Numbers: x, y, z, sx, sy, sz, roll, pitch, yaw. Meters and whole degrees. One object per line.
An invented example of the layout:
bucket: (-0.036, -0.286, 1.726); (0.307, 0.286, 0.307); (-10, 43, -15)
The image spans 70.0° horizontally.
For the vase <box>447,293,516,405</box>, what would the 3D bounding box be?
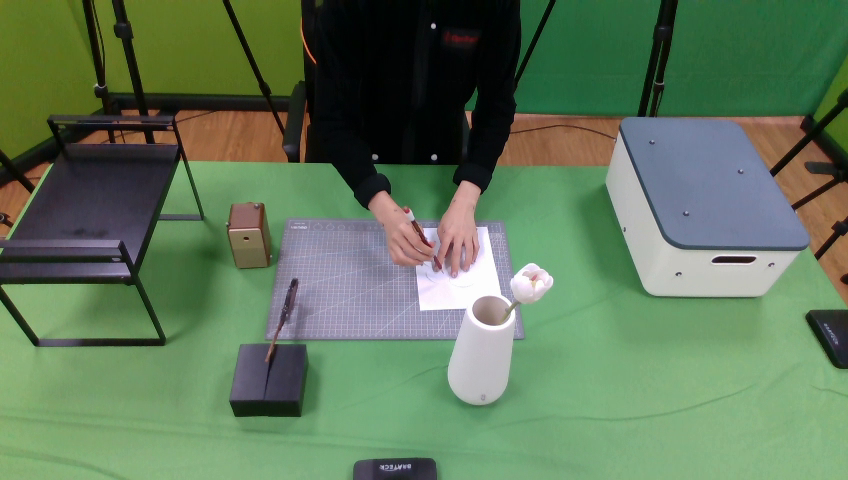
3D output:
vase: (0.091, 0.169, 0.921); (0.098, 0.201, 0.097); (3, 47, -3)

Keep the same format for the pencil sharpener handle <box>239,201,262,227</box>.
pencil sharpener handle: (-0.325, -0.056, 1.150); (0.036, 0.068, 0.030); (-13, 46, 3)

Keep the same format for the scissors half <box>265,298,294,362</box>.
scissors half: (-0.239, 0.143, 1.005); (0.013, 0.040, 0.174); (17, 28, -6)

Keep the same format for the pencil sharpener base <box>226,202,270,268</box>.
pencil sharpener base: (-0.323, -0.010, 1.123); (0.061, 0.107, 0.076); (-3, 46, -7)

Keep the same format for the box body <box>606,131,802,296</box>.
box body: (0.530, -0.067, 1.204); (0.254, 0.161, 0.361); (0, 46, -4)

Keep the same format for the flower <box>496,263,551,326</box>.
flower: (0.102, 0.120, 0.853); (0.044, 0.363, 0.038); (-2, 64, -10)

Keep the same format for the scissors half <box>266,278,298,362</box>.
scissors half: (-0.234, 0.127, 0.993); (0.013, 0.040, 0.174); (12, 46, -4)

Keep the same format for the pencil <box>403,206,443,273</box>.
pencil: (0.002, 0.004, 1.053); (0.012, 0.195, 0.012); (-13, 49, 16)

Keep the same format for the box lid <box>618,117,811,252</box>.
box lid: (0.534, -0.117, 1.148); (0.263, 0.015, 0.369); (0, 47, -3)
